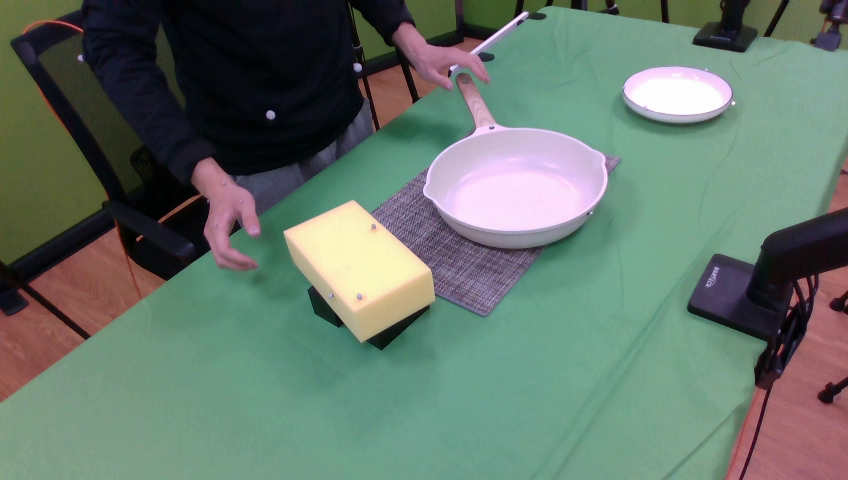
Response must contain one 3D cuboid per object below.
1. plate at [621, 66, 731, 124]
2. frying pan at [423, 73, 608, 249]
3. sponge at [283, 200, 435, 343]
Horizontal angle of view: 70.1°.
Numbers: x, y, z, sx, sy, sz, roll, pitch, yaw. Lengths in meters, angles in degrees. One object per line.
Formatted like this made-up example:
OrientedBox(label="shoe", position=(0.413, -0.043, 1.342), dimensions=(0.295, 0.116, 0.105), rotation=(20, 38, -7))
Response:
OrientedBox(label="plate", position=(0.503, -0.288, 1.221), dimensions=(0.207, 0.039, 0.206), rotation=(-4, 41, 4))
OrientedBox(label="frying pan", position=(0.129, -0.160, 1.069), dimensions=(0.307, 0.103, 0.484), rotation=(-11, 49, -6))
OrientedBox(label="sponge", position=(-0.093, 0.036, 0.835), dimensions=(0.119, 0.061, 0.205), rotation=(-29, 45, -23))
